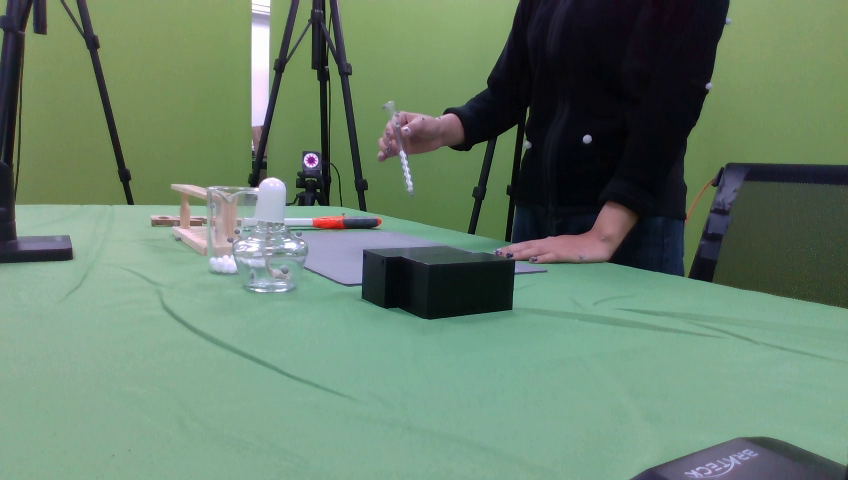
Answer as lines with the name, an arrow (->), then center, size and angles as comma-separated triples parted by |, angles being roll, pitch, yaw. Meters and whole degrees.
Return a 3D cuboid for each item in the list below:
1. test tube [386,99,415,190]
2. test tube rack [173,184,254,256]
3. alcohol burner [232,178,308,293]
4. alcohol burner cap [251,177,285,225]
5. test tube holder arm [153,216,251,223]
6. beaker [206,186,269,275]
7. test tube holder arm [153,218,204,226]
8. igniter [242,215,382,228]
test tube -> -0.037, -0.153, 0.970 | 0.017, 0.150, 0.017 | -13, -4, -1
test tube rack -> -0.328, -0.036, 0.927 | 0.067, 0.085, 0.241 | -2, 9, -32
alcohol burner -> -0.161, -0.006, 0.632 | 0.078, 0.119, 0.078 | 1, 9, 0
alcohol burner cap -> -0.160, -0.041, 0.628 | 0.034, 0.048, 0.034 | 9, 7, -1
test tube holder arm -> -0.422, -0.039, 1.159 | 0.179, 0.015, 0.013 | -2, 43, -31
beaker -> -0.220, -0.011, 0.717 | 0.074, 0.100, 0.084 | 2, 8, -3
test tube holder arm -> -0.459, -0.034, 1.132 | 0.088, 0.015, 0.010 | -1, 43, -30
igniter -> -0.212, -0.036, 1.186 | 0.278, 0.025, 0.057 | -2, -2, -31
